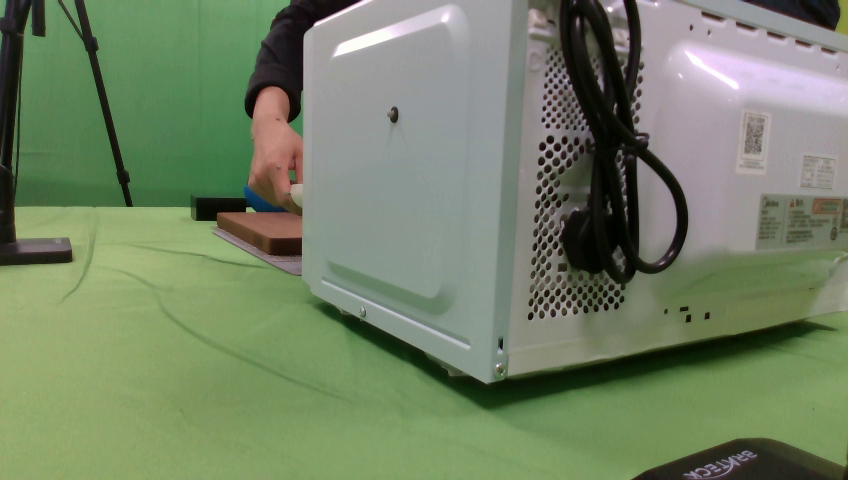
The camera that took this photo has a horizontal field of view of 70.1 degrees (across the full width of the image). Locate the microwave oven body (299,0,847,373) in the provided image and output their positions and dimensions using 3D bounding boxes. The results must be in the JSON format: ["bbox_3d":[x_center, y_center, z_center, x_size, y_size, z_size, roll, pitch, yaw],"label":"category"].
[{"bbox_3d":[0.151,-0.055,0.543,0.444,0.260,0.324,-2,7,-33],"label":"microwave oven body"}]

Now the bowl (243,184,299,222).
[{"bbox_3d":[-0.322,-0.081,1.334,0.151,0.077,0.151,3,7,0],"label":"bowl"}]

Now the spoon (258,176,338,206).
[{"bbox_3d":[-0.279,-0.112,1.356,0.194,0.021,0.041,-27,19,-27],"label":"spoon"}]

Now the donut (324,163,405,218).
[{"bbox_3d":[-0.072,-0.061,0.731,0.099,0.048,0.099,13,-14,4],"label":"donut"}]

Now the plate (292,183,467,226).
[{"bbox_3d":[-0.053,-0.039,0.722,0.208,0.039,0.207,4,1,0],"label":"plate"}]

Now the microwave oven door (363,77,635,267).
[{"bbox_3d":[0.091,-0.098,0.823,0.355,0.243,0.039,4,7,15],"label":"microwave oven door"}]

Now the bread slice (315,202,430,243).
[{"bbox_3d":[-0.054,-0.020,0.708,0.105,0.019,0.131,11,-14,-31],"label":"bread slice"}]

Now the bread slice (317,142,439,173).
[{"bbox_3d":[-0.048,-0.098,0.722,0.107,0.018,0.133,4,7,-43],"label":"bread slice"}]

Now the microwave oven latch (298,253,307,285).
[{"bbox_3d":[-0.081,0.027,0.583,0.079,0.029,0.030,-2,7,-33],"label":"microwave oven latch"}]
